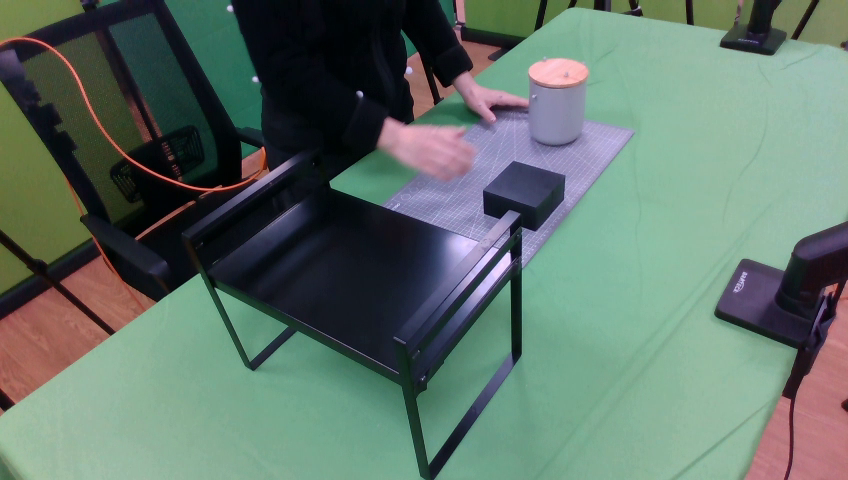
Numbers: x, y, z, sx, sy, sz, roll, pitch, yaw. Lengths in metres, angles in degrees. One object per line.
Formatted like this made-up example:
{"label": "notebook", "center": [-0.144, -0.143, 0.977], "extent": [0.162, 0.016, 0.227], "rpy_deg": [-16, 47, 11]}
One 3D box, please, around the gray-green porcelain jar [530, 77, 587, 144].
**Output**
{"label": "gray-green porcelain jar", "center": [0.254, -0.255, 1.151], "extent": [0.106, 0.127, 0.105], "rpy_deg": [-4, 41, 4]}

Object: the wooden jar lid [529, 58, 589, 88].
{"label": "wooden jar lid", "center": [0.248, -0.302, 1.110], "extent": [0.108, 0.021, 0.108], "rpy_deg": [-2, 40, 2]}
